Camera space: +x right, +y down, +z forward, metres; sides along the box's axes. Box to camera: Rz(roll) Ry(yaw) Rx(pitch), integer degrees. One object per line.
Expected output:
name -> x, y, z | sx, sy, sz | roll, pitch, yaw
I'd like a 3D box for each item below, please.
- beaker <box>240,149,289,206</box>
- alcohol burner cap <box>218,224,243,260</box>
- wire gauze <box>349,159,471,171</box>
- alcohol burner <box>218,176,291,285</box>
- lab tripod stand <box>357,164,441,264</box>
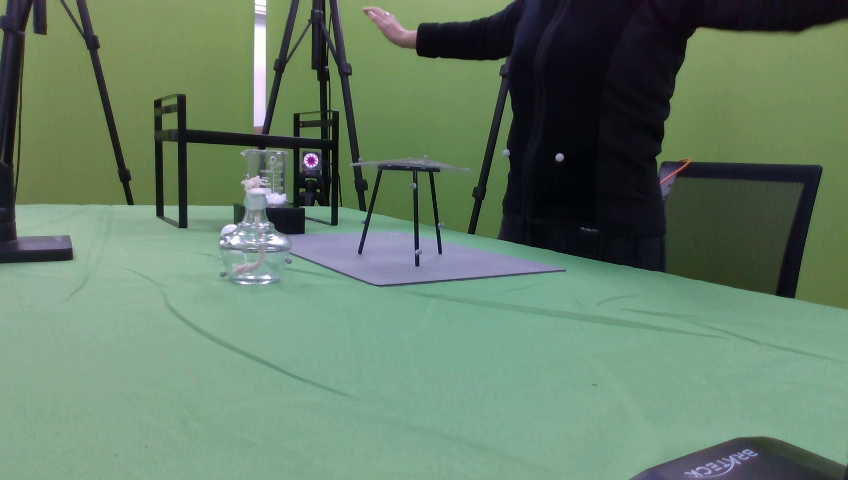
beaker -> -0.286, -0.112, 1.086 | 0.084, 0.100, 0.073 | -1, 9, -23
alcohol burner cap -> -0.263, 0.002, 0.824 | 0.034, 0.048, 0.034 | 5, 9, 0
wire gauze -> -0.019, -0.106, 0.847 | 0.121, 0.011, 0.126 | 8, 7, 43
alcohol burner -> -0.187, -0.011, 0.668 | 0.078, 0.119, 0.078 | 2, 10, 0
lab tripod stand -> -0.023, -0.041, 0.859 | 0.148, 0.131, 0.148 | 2, 5, 0
